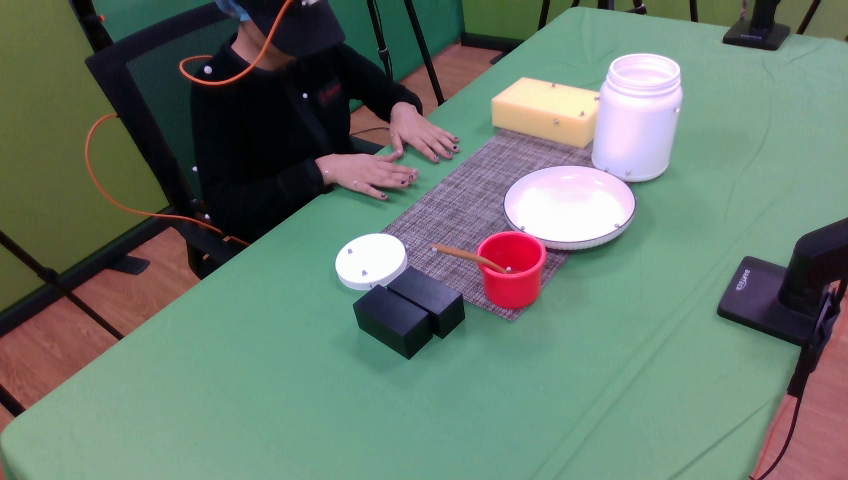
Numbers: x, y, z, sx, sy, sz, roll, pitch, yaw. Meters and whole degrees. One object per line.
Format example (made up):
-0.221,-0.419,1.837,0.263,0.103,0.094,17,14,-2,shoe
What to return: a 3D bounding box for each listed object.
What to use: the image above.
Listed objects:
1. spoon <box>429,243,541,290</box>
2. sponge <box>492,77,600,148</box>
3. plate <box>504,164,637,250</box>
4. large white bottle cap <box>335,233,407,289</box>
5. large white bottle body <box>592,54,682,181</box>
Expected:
0.086,0.033,0.826,0.195,0.021,0.041,23,27,-33,spoon
0.254,-0.258,1.207,0.205,0.061,0.118,22,47,31,sponge
0.234,-0.051,0.981,0.209,0.038,0.208,-5,40,5,plate
-0.084,0.032,0.961,0.115,0.018,0.114,-6,42,6,large white bottle cap
0.360,-0.208,1.027,0.130,0.185,0.130,-3,41,3,large white bottle body
